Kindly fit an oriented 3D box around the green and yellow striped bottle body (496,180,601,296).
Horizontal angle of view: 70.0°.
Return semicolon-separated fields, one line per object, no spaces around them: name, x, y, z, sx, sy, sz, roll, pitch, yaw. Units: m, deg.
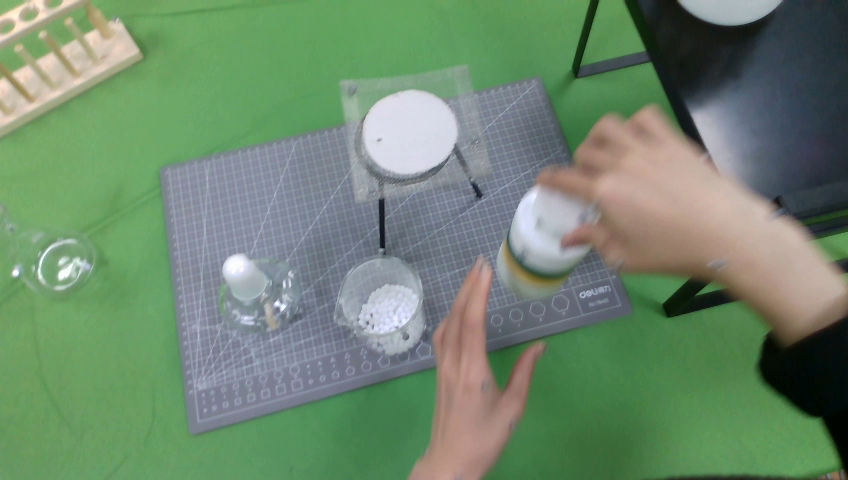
green and yellow striped bottle body;0.096;-0.004;0.471;0.063;0.120;0.062;2;66;-3

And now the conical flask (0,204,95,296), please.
conical flask;-0.392;0.004;0.597;0.075;0.123;0.075;-1;68;2

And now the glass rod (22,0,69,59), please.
glass rod;-0.433;-0.265;0.652;0.008;0.201;0.008;1;65;-2

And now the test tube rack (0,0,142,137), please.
test tube rack;-0.468;-0.197;0.698;0.242;0.086;0.066;-34;71;-11

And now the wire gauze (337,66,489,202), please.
wire gauze;-0.012;-0.099;0.542;0.121;0.011;0.124;-9;69;-3

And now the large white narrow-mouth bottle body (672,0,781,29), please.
large white narrow-mouth bottle body;0.256;-0.258;0.445;0.102;0.196;0.101;-1;66;2

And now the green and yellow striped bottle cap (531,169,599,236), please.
green and yellow striped bottle cap;0.098;-0.026;0.420;0.045;0.020;0.045;0;68;1

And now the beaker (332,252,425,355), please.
beaker;-0.039;0.067;0.569;0.084;0.101;0.073;-26;68;-7

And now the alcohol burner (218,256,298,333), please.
alcohol burner;-0.161;0.046;0.574;0.078;0.120;0.077;0;66;1

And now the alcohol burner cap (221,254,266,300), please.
alcohol burner cap;-0.164;0.030;0.541;0.034;0.048;0.033;0;61;1

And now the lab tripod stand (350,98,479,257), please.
lab tripod stand;-0.015;-0.068;0.602;0.148;0.132;0.147;0;66;1
